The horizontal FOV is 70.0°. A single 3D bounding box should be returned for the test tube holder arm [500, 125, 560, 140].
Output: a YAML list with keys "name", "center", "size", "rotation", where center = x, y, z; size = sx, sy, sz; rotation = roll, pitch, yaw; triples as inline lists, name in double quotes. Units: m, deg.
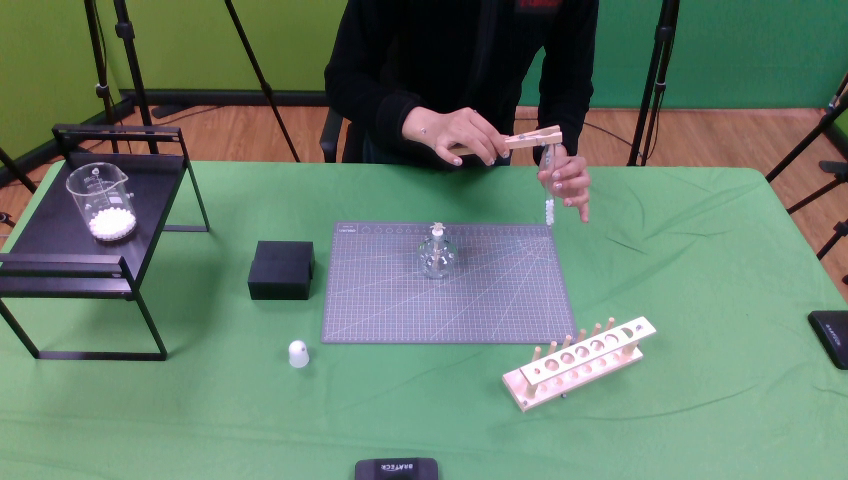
- name: "test tube holder arm"
  center: [0.154, -0.150, 0.879]
  size: [0.088, 0.015, 0.010]
  rotation: [-13, 36, 0]

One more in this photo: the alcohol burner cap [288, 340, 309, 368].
- name: "alcohol burner cap"
  center: [-0.207, 0.183, 0.991]
  size: [0.034, 0.048, 0.033]
  rotation: [2, 47, -2]

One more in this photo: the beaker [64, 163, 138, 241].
- name: "beaker"
  center: [-0.477, -0.055, 0.910]
  size: [0.084, 0.101, 0.073]
  rotation: [-9, 48, -13]

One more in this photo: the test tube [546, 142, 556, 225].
- name: "test tube"
  center: [0.192, -0.088, 0.919]
  size: [0.017, 0.151, 0.017]
  rotation: [-5, 33, 4]

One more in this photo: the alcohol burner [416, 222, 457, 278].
- name: "alcohol burner"
  center: [0.024, 0.013, 1.115]
  size: [0.078, 0.120, 0.077]
  rotation: [1, 45, -1]

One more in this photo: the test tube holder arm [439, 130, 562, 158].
- name: "test tube holder arm"
  center: [0.110, -0.139, 0.879]
  size: [0.178, 0.015, 0.013]
  rotation: [-8, 36, 9]

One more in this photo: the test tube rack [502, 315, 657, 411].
- name: "test tube rack"
  center: [0.253, 0.186, 0.988]
  size: [0.242, 0.085, 0.066]
  rotation: [-18, 50, -20]
